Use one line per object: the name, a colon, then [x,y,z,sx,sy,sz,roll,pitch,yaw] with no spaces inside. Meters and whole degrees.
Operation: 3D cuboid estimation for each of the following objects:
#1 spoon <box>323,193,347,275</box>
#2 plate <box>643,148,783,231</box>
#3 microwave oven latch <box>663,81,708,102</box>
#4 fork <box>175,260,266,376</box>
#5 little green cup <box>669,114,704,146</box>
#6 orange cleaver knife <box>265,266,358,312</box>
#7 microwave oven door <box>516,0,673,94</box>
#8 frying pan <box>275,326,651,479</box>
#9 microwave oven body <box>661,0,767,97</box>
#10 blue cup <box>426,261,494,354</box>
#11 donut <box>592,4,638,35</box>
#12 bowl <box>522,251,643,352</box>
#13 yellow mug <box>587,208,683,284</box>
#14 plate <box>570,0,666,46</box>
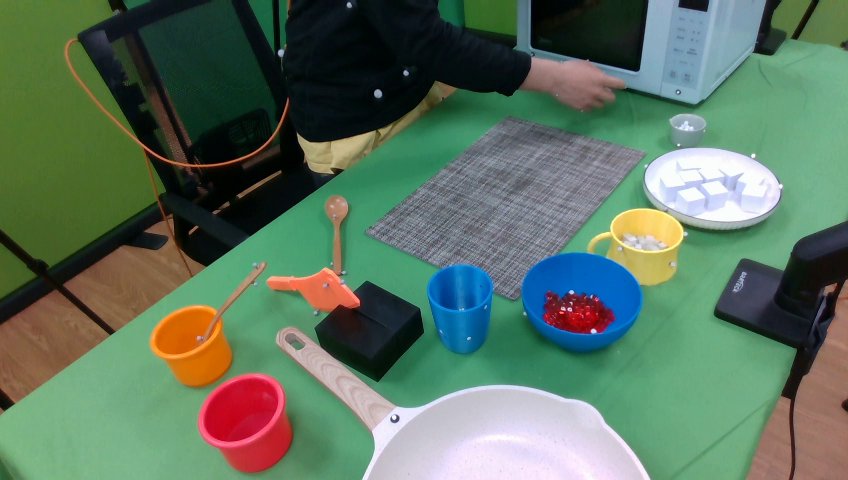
spoon: [-0.148,-0.014,1.008,0.042,0.022,0.192,1,40,-9]
plate: [0.464,-0.080,0.986,0.207,0.039,0.206,-4,40,4]
microwave oven latch: [0.518,-0.299,1.202,0.078,0.029,0.030,30,53,36]
fork: [-0.268,0.103,0.792,0.207,0.019,0.028,-51,41,16]
little green cup: [0.485,-0.203,1.123,0.061,0.039,0.061,-5,39,5]
orange cleaver knife: [-0.165,0.073,0.864,0.210,0.077,0.012,-6,31,50]
microwave oven door: [0.344,-0.458,1.257,0.353,0.245,0.039,26,52,33]
frying pan: [0.003,0.229,0.641,0.484,0.103,0.308,34,54,28]
microwave oven body: [0.473,-0.516,1.313,0.438,0.261,0.327,26,51,34]
blue cup: [0.049,0.095,0.791,0.092,0.100,0.092,-3,42,3]
donut: [0.428,-0.493,1.352,0.099,0.048,0.098,-7,42,7]
bowl: [0.204,0.093,0.792,0.151,0.077,0.150,-4,40,4]
yellow mug: [0.305,0.009,0.884,0.131,0.064,0.099,-4,40,5]
plate: [0.436,-0.488,1.368,0.209,0.038,0.208,-4,40,4]
